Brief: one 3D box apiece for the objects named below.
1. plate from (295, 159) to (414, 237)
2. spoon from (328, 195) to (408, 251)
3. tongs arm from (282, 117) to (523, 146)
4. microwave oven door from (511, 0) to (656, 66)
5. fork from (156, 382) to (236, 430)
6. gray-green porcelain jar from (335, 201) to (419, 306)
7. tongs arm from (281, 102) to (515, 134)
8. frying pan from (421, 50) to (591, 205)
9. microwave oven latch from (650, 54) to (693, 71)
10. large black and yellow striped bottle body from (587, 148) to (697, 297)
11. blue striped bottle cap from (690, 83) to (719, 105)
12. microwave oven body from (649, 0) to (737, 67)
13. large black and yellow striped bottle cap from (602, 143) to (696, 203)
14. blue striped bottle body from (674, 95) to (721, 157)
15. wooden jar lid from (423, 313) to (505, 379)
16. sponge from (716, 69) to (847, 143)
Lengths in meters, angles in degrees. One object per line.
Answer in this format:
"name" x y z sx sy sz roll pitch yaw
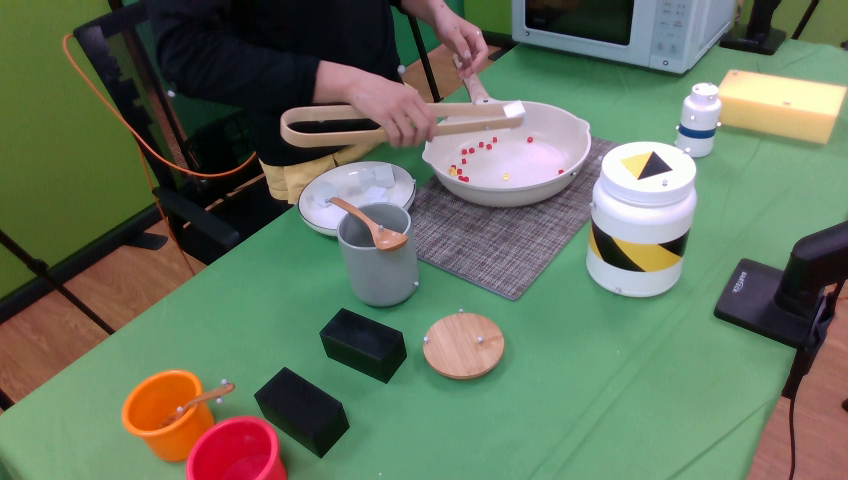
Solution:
"plate" -0.118 -0.070 1.055 0.207 0.039 0.206 -5 40 5
"spoon" -0.083 -0.029 0.829 0.042 0.022 0.192 -32 42 -21
"tongs arm" -0.019 -0.170 0.924 0.390 0.028 0.028 -8 59 -22
"microwave oven door" 0.350 -0.539 1.349 0.353 0.245 0.039 24 50 31
"fork" -0.262 0.189 0.690 0.018 0.206 0.028 49 43 -7
"gray-green porcelain jar" -0.064 0.024 0.872 0.106 0.127 0.105 -4 41 4
"tongs arm" -0.026 -0.189 0.936 0.387 0.026 0.050 -4 55 -20
"frying pan" 0.127 -0.233 1.155 0.307 0.103 0.484 -10 49 -5
"microwave oven latch" 0.531 -0.386 1.301 0.078 0.029 0.030 26 51 33
"large black and yellow striped bottle body" 0.298 -0.026 0.835 0.131 0.185 0.130 -4 41 4
"blue striped bottle cap" 0.481 -0.251 1.038 0.044 0.021 0.044 -5 40 5
"microwave oven body" 0.475 -0.602 1.411 0.438 0.261 0.327 23 50 32
"large black and yellow striped bottle cap" 0.289 -0.088 0.779 0.115 0.019 0.114 -5 39 4
"blue striped bottle body" 0.486 -0.213 1.072 0.063 0.121 0.063 -4 41 4
"wooden jar lid" 0.053 0.142 0.800 0.108 0.021 0.108 -5 39 4
"sponge" 0.663 -0.256 1.142 0.205 0.061 0.118 19 47 28
